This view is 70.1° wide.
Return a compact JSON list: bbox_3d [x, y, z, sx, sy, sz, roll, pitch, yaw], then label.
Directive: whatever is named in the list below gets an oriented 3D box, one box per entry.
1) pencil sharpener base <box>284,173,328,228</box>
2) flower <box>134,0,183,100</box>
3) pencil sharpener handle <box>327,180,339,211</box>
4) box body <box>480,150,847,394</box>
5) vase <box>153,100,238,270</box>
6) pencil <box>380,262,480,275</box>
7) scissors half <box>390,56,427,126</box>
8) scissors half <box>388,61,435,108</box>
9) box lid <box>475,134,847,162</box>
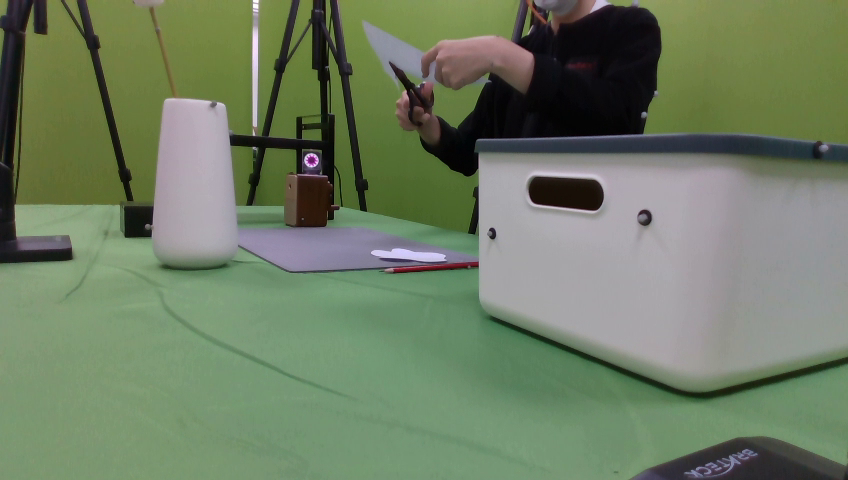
[{"bbox_3d":[-0.239,-0.081,1.231,0.077,0.107,0.061,-2,8,-36],"label":"pencil sharpener base"},{"bbox_3d":[-0.282,-0.147,0.713,0.038,0.362,0.044,-23,24,-31],"label":"flower"},{"bbox_3d":[-0.194,-0.094,1.256,0.031,0.067,0.036,-2,-6,-36],"label":"pencil sharpener handle"},{"bbox_3d":[0.254,0.001,0.539,0.366,0.160,0.253,-2,9,-31],"label":"box body"},{"bbox_3d":[-0.278,-0.066,0.736,0.098,0.200,0.098,2,9,0],"label":"vase"},{"bbox_3d":[0.030,0.036,0.795,0.195,0.012,0.012,-3,9,-30],"label":"pencil"},{"bbox_3d":[-0.031,-0.266,1.094,0.012,0.040,0.176,22,-22,30],"label":"scissors half"},{"bbox_3d":[-0.021,-0.285,1.098,0.013,0.040,0.176,17,-1,29],"label":"scissors half"},{"bbox_3d":[0.256,-0.073,0.528,0.373,0.015,0.262,-2,8,-31],"label":"box lid"}]
